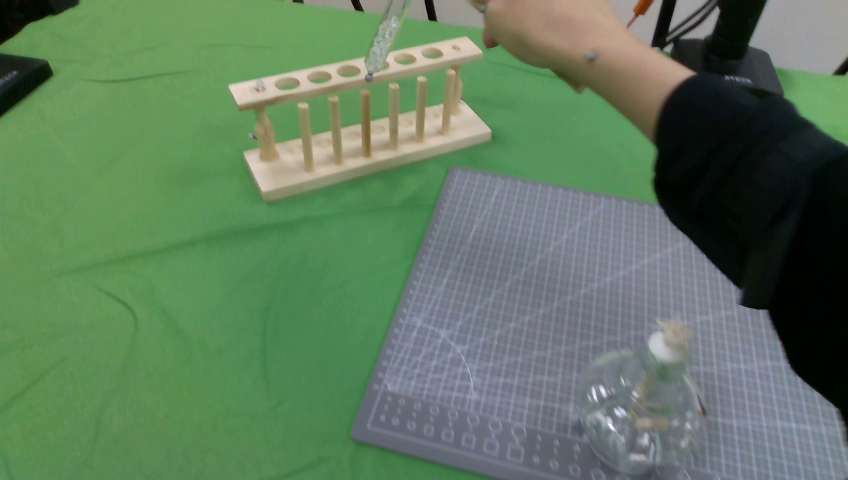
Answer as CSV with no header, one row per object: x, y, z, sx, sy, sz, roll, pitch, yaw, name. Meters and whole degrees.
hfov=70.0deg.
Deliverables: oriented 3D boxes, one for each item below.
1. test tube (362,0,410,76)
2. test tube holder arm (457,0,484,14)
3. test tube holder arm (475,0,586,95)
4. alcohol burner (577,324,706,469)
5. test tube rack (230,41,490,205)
-0.012,-0.188,0.435,0.017,0.151,0.017,22,26,-11,test tube
0.008,-0.184,0.417,0.087,0.015,0.010,42,27,14,test tube holder arm
0.041,-0.155,0.407,0.177,0.015,0.013,46,29,21,test tube holder arm
0.135,0.089,0.367,0.078,0.120,0.077,1,47,0,alcohol burner
-0.052,-0.118,0.588,0.243,0.086,0.066,-18,49,-20,test tube rack
